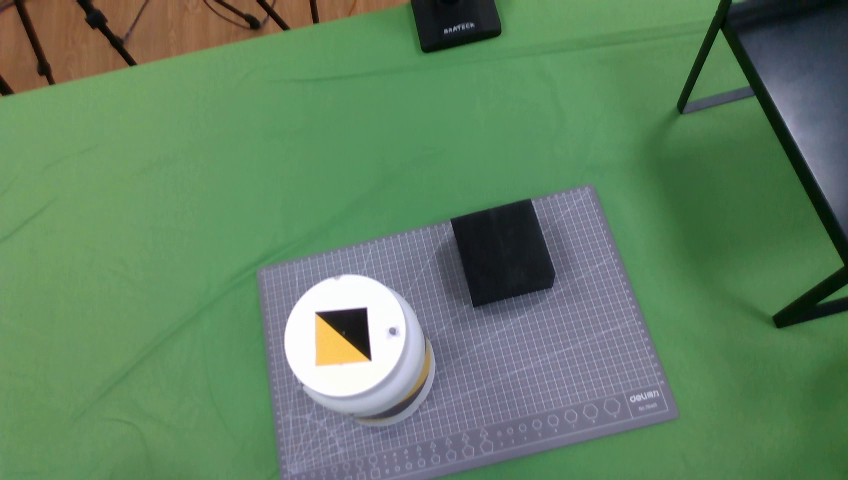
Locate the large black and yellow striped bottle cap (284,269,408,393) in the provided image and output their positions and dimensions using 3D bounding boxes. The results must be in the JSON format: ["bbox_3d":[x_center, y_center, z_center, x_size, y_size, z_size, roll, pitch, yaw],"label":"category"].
[{"bbox_3d":[-0.072,0.083,0.561,0.115,0.019,0.114,-3,69,7],"label":"large black and yellow striped bottle cap"}]

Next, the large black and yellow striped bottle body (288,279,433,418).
[{"bbox_3d":[-0.063,0.113,0.638,0.130,0.185,0.130,-2,68,6],"label":"large black and yellow striped bottle body"}]
